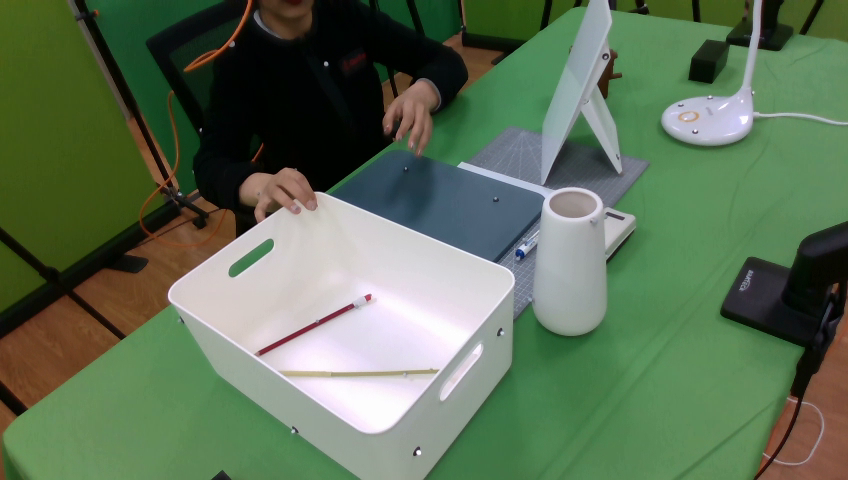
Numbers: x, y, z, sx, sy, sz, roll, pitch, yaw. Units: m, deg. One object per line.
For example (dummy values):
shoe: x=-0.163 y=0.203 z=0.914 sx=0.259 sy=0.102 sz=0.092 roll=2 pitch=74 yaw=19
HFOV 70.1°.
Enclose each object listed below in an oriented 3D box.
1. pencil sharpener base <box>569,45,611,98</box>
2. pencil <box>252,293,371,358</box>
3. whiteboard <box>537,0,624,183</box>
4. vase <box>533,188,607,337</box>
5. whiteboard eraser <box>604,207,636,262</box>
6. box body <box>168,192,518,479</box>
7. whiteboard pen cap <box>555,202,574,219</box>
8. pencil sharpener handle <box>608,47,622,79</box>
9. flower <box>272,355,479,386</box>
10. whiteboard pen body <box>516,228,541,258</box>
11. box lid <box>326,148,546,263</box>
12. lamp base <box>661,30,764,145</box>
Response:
pencil sharpener base: x=0.346 y=-0.352 z=1.262 sx=0.077 sy=0.107 sz=0.061 roll=-10 pitch=40 yaw=-1
pencil: x=-0.162 y=0.124 z=0.865 sx=0.195 sy=0.012 sz=0.012 roll=-27 pitch=43 yaw=-18
whiteboard: x=0.316 y=-0.256 z=1.047 sx=0.144 sy=0.306 sz=0.216 roll=15 pitch=42 yaw=-1
vase: x=0.187 y=0.033 z=0.771 sx=0.098 sy=0.201 sz=0.097 roll=-6 pitch=41 yaw=6
whiteboard eraser: x=0.272 y=-0.003 z=0.919 sx=0.055 sy=0.042 sz=0.113 roll=27 pitch=51 yaw=32
box body: x=-0.093 y=0.112 z=0.757 sx=0.361 sy=0.161 sz=0.255 roll=23 pitch=49 yaw=32
whiteboard pen cap: x=0.230 y=-0.048 z=0.994 sx=0.018 sy=0.018 sz=0.033 roll=27 pitch=54 yaw=34
pencil sharpener handle: x=0.395 y=-0.369 z=1.254 sx=0.031 sy=0.068 sz=0.036 roll=-10 pitch=32 yaw=-1
flower: x=-0.086 y=0.173 z=0.787 sx=0.361 sy=0.038 sz=0.044 roll=-2 pitch=47 yaw=13
whiteboard pen body: x=0.192 y=-0.015 z=0.964 sx=0.017 sy=0.017 sz=0.141 roll=26 pitch=51 yaw=34
box lid: x=-0.002 y=-0.055 z=1.052 sx=0.368 sy=0.015 sz=0.264 roll=23 pitch=49 yaw=32
lamp base: x=0.535 y=-0.287 z=1.096 sx=0.179 sy=0.181 sz=0.159 roll=-10 pitch=40 yaw=-4
